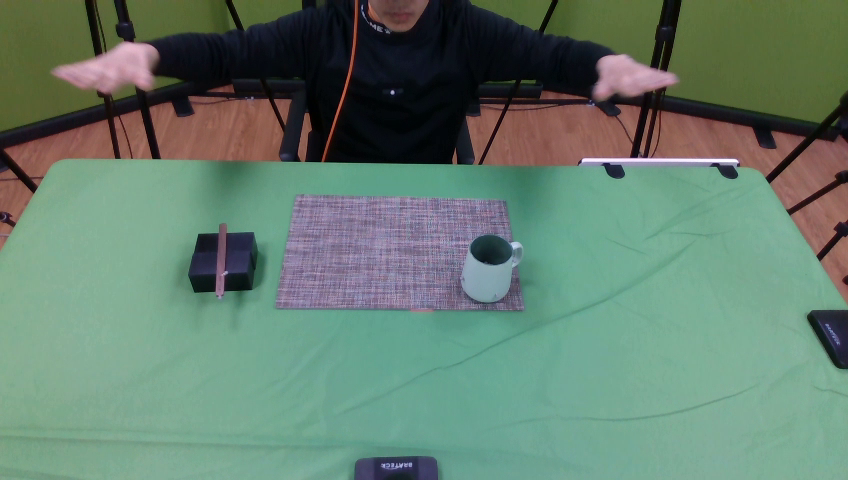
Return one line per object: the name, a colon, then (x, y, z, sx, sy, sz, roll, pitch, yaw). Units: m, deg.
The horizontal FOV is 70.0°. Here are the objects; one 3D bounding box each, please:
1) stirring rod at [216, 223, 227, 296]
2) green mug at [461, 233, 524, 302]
stirring rod: (-0.362, 0.031, 1.083, 0.014, 0.006, 0.175, -7, 47, -9)
green mug: (0.130, 0.044, 1.101, 0.125, 0.105, 0.092, -25, 53, -25)
